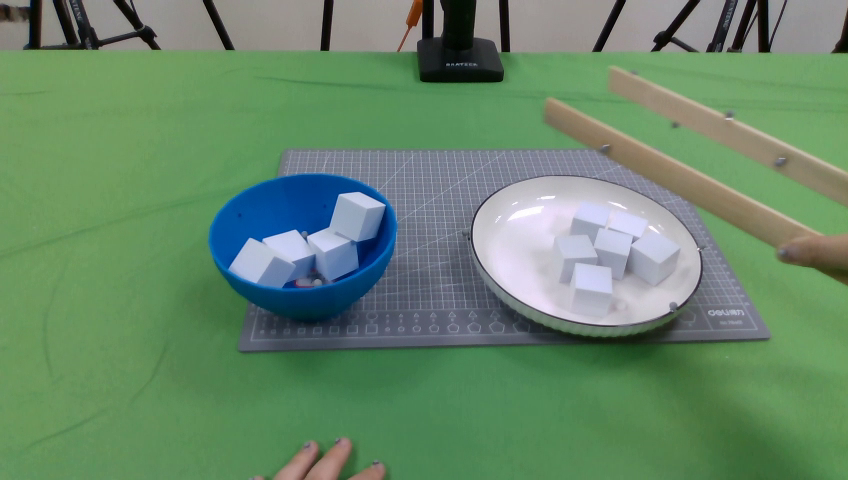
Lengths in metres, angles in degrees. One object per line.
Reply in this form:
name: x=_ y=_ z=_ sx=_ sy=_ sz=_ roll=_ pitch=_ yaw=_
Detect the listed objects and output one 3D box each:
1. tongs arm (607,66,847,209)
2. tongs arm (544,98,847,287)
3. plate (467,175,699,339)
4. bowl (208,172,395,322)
tongs arm: x=0.270 y=-0.038 z=0.431 sx=0.051 sy=0.027 sz=0.381 roll=-31 pitch=51 yaw=-26
tongs arm: x=0.233 y=-0.016 z=0.412 sx=0.028 sy=0.028 sz=0.383 roll=-31 pitch=50 yaw=-30
plate: x=0.142 y=0.015 z=0.561 sx=0.208 sy=0.039 sz=0.205 roll=2 pitch=41 yaw=-1
bowl: x=-0.099 y=0.016 z=0.516 sx=0.151 sy=0.077 sz=0.150 roll=2 pitch=41 yaw=-1
